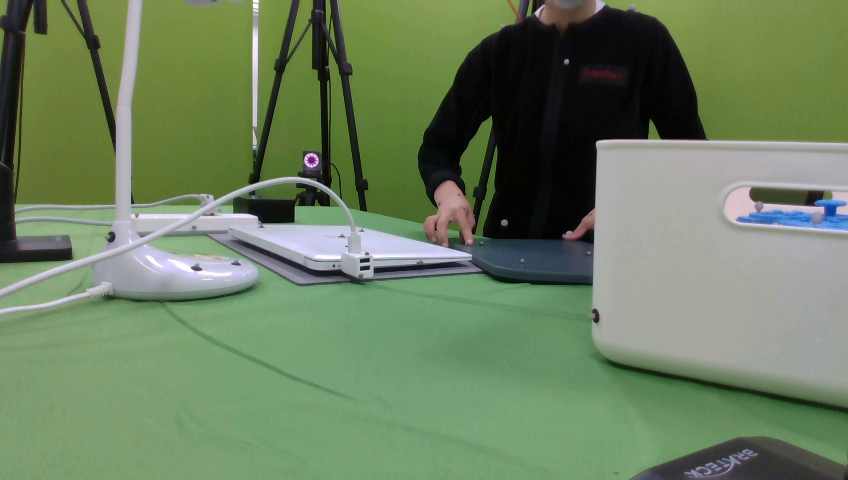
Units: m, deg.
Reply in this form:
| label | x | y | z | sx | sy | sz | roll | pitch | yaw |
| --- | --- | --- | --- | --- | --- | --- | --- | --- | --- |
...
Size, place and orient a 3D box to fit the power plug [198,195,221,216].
| label | x | y | z | sx | sy | sz | roll | pitch | yaw |
| --- | --- | --- | --- | --- | --- | --- | --- | --- | --- |
| power plug | -0.386 | -0.055 | 1.088 | 0.035 | 0.052 | 0.072 | -1 | 6 | -24 |

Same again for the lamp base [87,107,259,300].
| label | x | y | z | sx | sy | sz | roll | pitch | yaw |
| --- | --- | --- | --- | --- | --- | --- | --- | --- | --- |
| lamp base | -0.254 | -0.039 | 0.603 | 0.160 | 0.180 | 0.179 | 5 | 10 | 18 |

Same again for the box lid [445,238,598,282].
| label | x | y | z | sx | sy | sz | roll | pitch | yaw |
| --- | --- | --- | --- | --- | --- | --- | --- | --- | --- |
| box lid | 0.190 | 0.027 | 0.907 | 0.264 | 0.015 | 0.370 | 2 | 6 | -10 |

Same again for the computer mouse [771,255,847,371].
| label | x | y | z | sx | sy | sz | roll | pitch | yaw |
| --- | --- | --- | --- | --- | --- | --- | --- | --- | --- |
| computer mouse | 0.345 | 0.057 | 0.519 | 0.063 | 0.041 | 0.117 | 12 | 47 | 4 |

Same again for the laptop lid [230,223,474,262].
| label | x | y | z | sx | sy | sz | roll | pitch | yaw |
| --- | --- | --- | --- | --- | --- | --- | --- | --- | --- |
| laptop lid | -0.121 | 0.000 | 0.888 | 0.243 | 0.013 | 0.355 | 1 | 7 | -33 |

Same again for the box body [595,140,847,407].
| label | x | y | z | sx | sy | sz | roll | pitch | yaw |
| --- | --- | --- | --- | --- | --- | --- | --- | --- | --- |
| box body | 0.309 | 0.007 | 0.510 | 0.253 | 0.160 | 0.366 | 6 | 8 | 29 |

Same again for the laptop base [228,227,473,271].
| label | x | y | z | sx | sy | sz | roll | pitch | yaw |
| --- | --- | --- | --- | --- | --- | --- | --- | --- | --- |
| laptop base | -0.124 | 0.011 | 0.889 | 0.237 | 0.023 | 0.352 | 2 | 6 | -35 |

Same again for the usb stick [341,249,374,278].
| label | x | y | z | sx | sy | sz | roll | pitch | yaw |
| --- | --- | --- | --- | --- | --- | --- | --- | --- | --- |
| usb stick | -0.079 | 0.026 | 0.686 | 0.021 | 0.027 | 0.059 | -7 | 9 | -30 |

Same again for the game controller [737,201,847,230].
| label | x | y | z | sx | sy | sz | roll | pitch | yaw |
| --- | --- | --- | --- | --- | --- | --- | --- | --- | --- |
| game controller | 0.291 | 0.000 | 0.425 | 0.097 | 0.051 | 0.155 | -1 | 7 | 5 |

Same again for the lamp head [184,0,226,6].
| label | x | y | z | sx | sy | sz | roll | pitch | yaw |
| --- | --- | --- | --- | --- | --- | --- | --- | --- | --- |
| lamp head | -0.229 | -0.320 | 0.627 | 0.112 | 0.112 | 0.123 | 6 | -36 | 26 |

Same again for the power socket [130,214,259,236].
| label | x | y | z | sx | sy | sz | roll | pitch | yaw |
| --- | --- | --- | --- | --- | --- | --- | --- | --- | --- |
| power socket | -0.397 | -0.028 | 1.048 | 0.228 | 0.032 | 0.072 | -3 | 7 | -35 |
